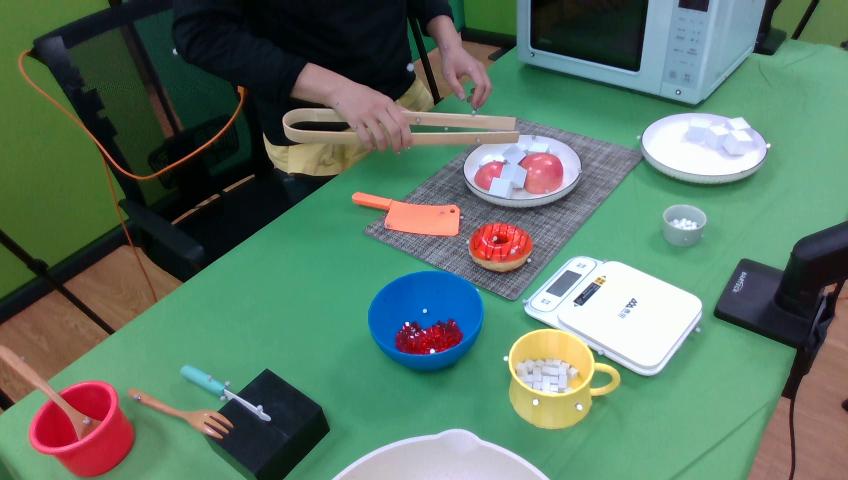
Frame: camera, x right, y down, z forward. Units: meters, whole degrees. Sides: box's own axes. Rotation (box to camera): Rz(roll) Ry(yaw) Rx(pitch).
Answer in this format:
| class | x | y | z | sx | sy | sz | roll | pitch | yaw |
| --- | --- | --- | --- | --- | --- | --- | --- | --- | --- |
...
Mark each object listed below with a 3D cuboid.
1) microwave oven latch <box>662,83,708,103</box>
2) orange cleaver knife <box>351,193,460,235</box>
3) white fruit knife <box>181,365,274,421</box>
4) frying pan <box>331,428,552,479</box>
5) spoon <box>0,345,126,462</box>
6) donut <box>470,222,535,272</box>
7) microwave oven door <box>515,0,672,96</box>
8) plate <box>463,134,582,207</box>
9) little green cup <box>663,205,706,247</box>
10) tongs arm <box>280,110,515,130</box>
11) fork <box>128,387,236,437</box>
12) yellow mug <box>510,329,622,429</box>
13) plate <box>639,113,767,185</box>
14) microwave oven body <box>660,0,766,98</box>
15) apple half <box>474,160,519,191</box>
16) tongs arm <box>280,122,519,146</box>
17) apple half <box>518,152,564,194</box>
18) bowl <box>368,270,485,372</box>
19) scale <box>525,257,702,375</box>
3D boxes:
| class | x | y | z | sx | sy | sz | roll | pitch | yaw |
| --- | --- | --- | --- | --- | --- | --- | --- | --- | --- |
| microwave oven latch | 0.517 | -0.296 | 1.204 | 0.078 | 0.029 | 0.030 | 27 | 52 | 35 |
| orange cleaver knife | -0.036 | -0.044 | 1.029 | 0.210 | 0.012 | 0.077 | 10 | 48 | 18 |
| white fruit knife | -0.245 | 0.187 | 0.747 | 0.205 | 0.027 | 0.016 | 9 | 41 | 40 |
| frying pan | -0.089 | 0.306 | 0.564 | 0.487 | 0.103 | 0.306 | 10 | 41 | 7 |
| spoon | -0.434 | 0.192 | 0.720 | 0.194 | 0.021 | 0.042 | 47 | 53 | -6 |
| donut | 0.119 | 0.009 | 0.923 | 0.099 | 0.048 | 0.098 | -4 | 38 | 3 |
| microwave oven door | 0.343 | -0.455 | 1.259 | 0.353 | 0.245 | 0.039 | 26 | 51 | 33 |
| plate | 0.173 | -0.119 | 1.070 | 0.209 | 0.038 | 0.208 | -4 | 40 | 4 |
| little green cup | 0.396 | -0.020 | 0.926 | 0.061 | 0.039 | 0.061 | -4 | 40 | 4 |
| tongs arm | -0.040 | -0.191 | 1.002 | 0.385 | 0.026 | 0.050 | 4 | 51 | -1 |
| fork | -0.305 | 0.207 | 0.744 | 0.206 | 0.019 | 0.028 | 3 | 41 | 36 |
| yellow mug | 0.168 | 0.164 | 0.721 | 0.130 | 0.064 | 0.099 | 0 | 40 | 8 |
| plate | 0.489 | -0.157 | 1.074 | 0.207 | 0.039 | 0.206 | -4 | 40 | 4 |
| microwave oven body | 0.472 | -0.513 | 1.317 | 0.438 | 0.261 | 0.327 | 26 | 51 | 34 |
| apple half | 0.130 | -0.120 | 1.068 | 0.081 | 0.033 | 0.081 | -4 | 36 | 3 |
| tongs arm | -0.039 | -0.170 | 0.985 | 0.388 | 0.028 | 0.028 | 1 | 54 | -3 |
| apple half | 0.204 | -0.124 | 1.048 | 0.075 | 0.053 | 0.080 | -7 | 41 | -3 |
| bowl | 0.007 | 0.118 | 0.791 | 0.151 | 0.077 | 0.150 | -4 | 40 | 4 |
| scale | 0.254 | 0.091 | 0.821 | 0.199 | 0.032 | 0.149 | 28 | 51 | 35 |
